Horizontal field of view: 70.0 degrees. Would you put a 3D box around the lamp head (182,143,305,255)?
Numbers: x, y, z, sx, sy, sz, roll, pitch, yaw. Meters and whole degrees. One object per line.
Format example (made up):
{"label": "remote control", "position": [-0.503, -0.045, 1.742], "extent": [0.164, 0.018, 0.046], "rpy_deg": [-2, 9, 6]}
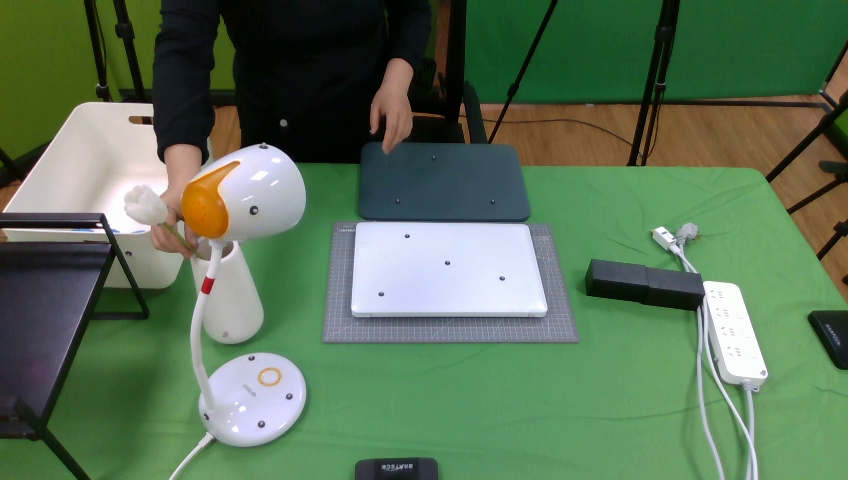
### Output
{"label": "lamp head", "position": [-0.216, -0.044, 0.697], "extent": [0.112, 0.113, 0.123], "rpy_deg": [23, 31, 17]}

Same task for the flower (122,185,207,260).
{"label": "flower", "position": [-0.328, 0.032, 0.904], "extent": [0.038, 0.364, 0.044], "rpy_deg": [10, 64, 17]}

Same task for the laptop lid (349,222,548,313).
{"label": "laptop lid", "position": [0.042, 0.046, 1.142], "extent": [0.357, 0.013, 0.240], "rpy_deg": [2, 44, -3]}

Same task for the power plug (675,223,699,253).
{"label": "power plug", "position": [0.538, 0.000, 1.243], "extent": [0.053, 0.035, 0.072], "rpy_deg": [18, 82, -16]}

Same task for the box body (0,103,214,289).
{"label": "box body", "position": [-0.563, -0.087, 1.139], "extent": [0.254, 0.161, 0.361], "rpy_deg": [2, 46, -3]}

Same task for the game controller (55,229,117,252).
{"label": "game controller", "position": [-0.597, 0.011, 1.116], "extent": [0.155, 0.052, 0.096], "rpy_deg": [1, 48, -1]}

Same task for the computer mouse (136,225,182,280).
{"label": "computer mouse", "position": [-0.488, 0.020, 1.117], "extent": [0.063, 0.041, 0.116], "rpy_deg": [1, 55, -6]}

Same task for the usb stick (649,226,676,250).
{"label": "usb stick", "position": [0.485, -0.008, 1.237], "extent": [0.021, 0.027, 0.059], "rpy_deg": [-22, 44, -13]}

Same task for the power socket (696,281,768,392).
{"label": "power socket", "position": [0.543, 0.161, 1.077], "extent": [0.072, 0.033, 0.225], "rpy_deg": [5, 46, 2]}

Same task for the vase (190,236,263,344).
{"label": "vase", "position": [-0.317, 0.081, 0.971], "extent": [0.098, 0.201, 0.097], "rpy_deg": [3, 47, -3]}

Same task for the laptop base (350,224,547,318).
{"label": "laptop base", "position": [0.041, 0.056, 1.148], "extent": [0.355, 0.023, 0.234], "rpy_deg": [1, 42, -4]}

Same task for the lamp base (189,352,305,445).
{"label": "lamp base", "position": [-0.268, 0.196, 0.876], "extent": [0.160, 0.181, 0.179], "rpy_deg": [25, 52, 19]}

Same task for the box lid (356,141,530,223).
{"label": "box lid", "position": [0.040, -0.132, 1.339], "extent": [0.372, 0.015, 0.261], "rpy_deg": [0, 46, -4]}
